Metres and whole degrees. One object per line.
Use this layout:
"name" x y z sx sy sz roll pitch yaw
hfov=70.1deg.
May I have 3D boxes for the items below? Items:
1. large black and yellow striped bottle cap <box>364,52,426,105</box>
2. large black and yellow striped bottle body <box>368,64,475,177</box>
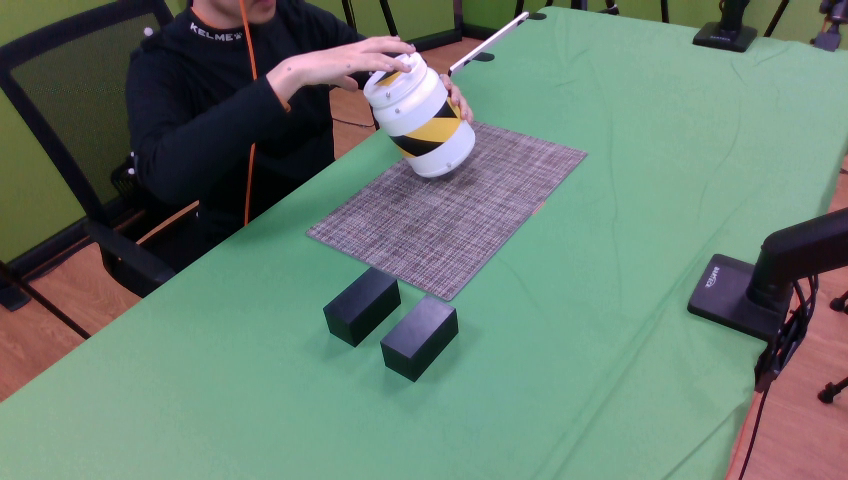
"large black and yellow striped bottle cap" -0.050 -0.270 1.007 0.114 0.019 0.114 -25 38 21
"large black and yellow striped bottle body" -0.007 -0.216 1.054 0.130 0.185 0.130 -25 37 21
